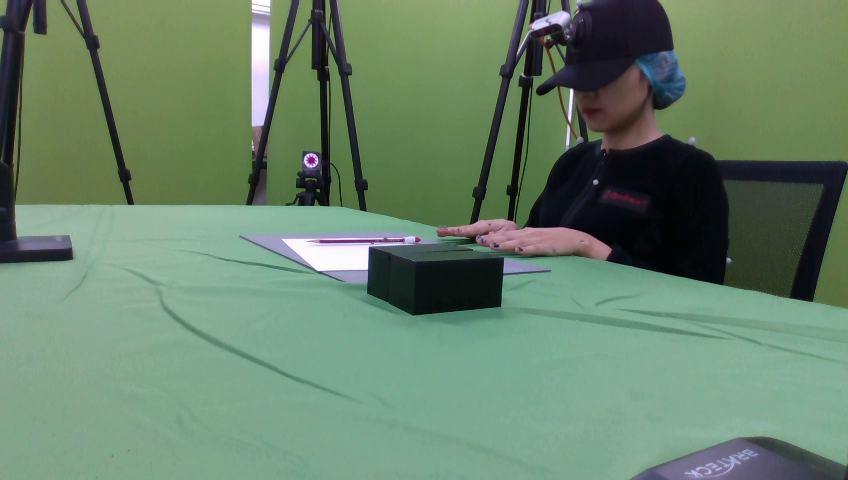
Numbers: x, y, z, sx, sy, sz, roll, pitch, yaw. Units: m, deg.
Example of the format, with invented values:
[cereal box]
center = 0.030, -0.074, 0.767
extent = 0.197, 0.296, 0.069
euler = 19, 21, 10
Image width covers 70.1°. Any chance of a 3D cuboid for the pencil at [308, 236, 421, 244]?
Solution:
[pencil]
center = -0.093, 0.000, 0.982
extent = 0.195, 0.012, 0.012
euler = -1, 8, -27
